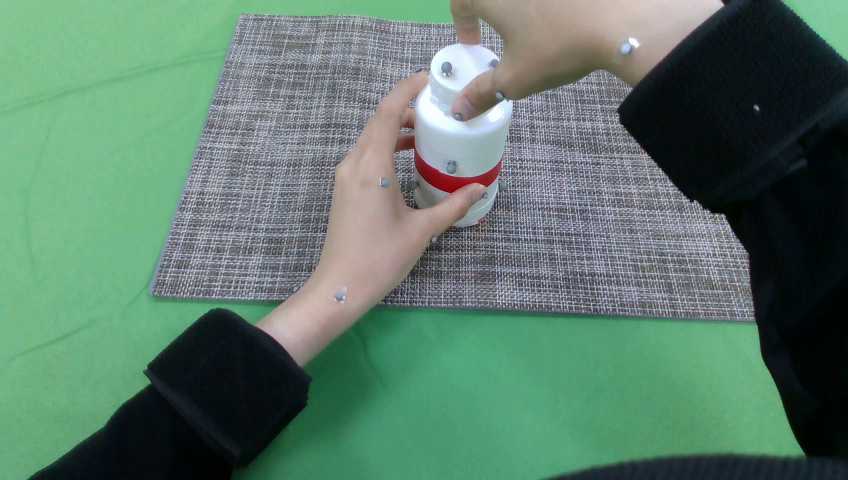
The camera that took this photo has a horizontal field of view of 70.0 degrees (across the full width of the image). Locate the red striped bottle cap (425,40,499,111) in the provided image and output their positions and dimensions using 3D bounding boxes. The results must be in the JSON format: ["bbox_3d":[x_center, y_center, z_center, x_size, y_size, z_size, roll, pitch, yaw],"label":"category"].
[{"bbox_3d":[0.023,-0.100,0.364,0.044,0.018,0.044,2,60,-4],"label":"red striped bottle cap"}]

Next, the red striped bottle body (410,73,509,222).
[{"bbox_3d":[0.022,-0.070,0.408,0.063,0.120,0.062,1,57,-1],"label":"red striped bottle body"}]
